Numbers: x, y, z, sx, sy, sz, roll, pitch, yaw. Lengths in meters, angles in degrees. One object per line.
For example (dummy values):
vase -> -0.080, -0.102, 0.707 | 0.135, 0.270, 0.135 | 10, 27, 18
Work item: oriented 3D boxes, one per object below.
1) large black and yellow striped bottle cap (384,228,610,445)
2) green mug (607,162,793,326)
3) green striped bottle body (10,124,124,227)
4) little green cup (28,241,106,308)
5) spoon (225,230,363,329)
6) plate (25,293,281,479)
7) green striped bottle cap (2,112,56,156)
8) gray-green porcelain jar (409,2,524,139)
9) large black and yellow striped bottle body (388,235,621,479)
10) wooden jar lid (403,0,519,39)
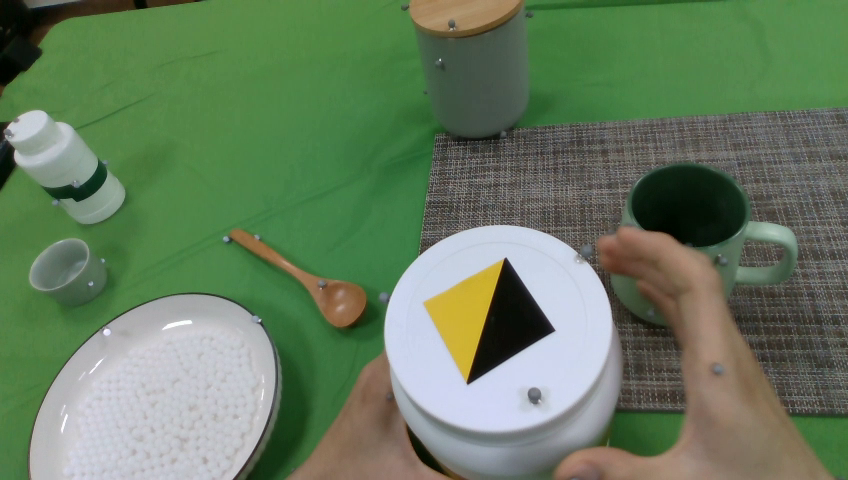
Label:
large black and yellow striped bottle cap -> 0.036, 0.045, 0.309 | 0.115, 0.019, 0.114 | -6, 56, 10
green mug -> 0.204, 0.007, 0.452 | 0.125, 0.106, 0.092 | 6, 56, 17
green striped bottle body -> -0.376, -0.073, 0.633 | 0.063, 0.120, 0.062 | -6, 53, 9
little green cup -> -0.351, 0.036, 0.600 | 0.061, 0.039, 0.061 | -6, 52, 9
spoon -> -0.127, 0.028, 0.566 | 0.192, 0.022, 0.041 | 29, 81, 28
plate -> -0.213, 0.141, 0.495 | 0.209, 0.038, 0.207 | -6, 54, 8
green striped bottle cap -> -0.386, -0.103, 0.592 | 0.044, 0.020, 0.044 | -4, 55, 7
gray-green porcelain jar -> 0.047, -0.175, 0.608 | 0.106, 0.128, 0.105 | -6, 50, 7
large black and yellow striped bottle body -> 0.052, 0.089, 0.379 | 0.130, 0.186, 0.129 | -5, 58, 9
wooden jar lid -> 0.035, -0.215, 0.560 | 0.108, 0.021, 0.107 | -8, 52, 11
